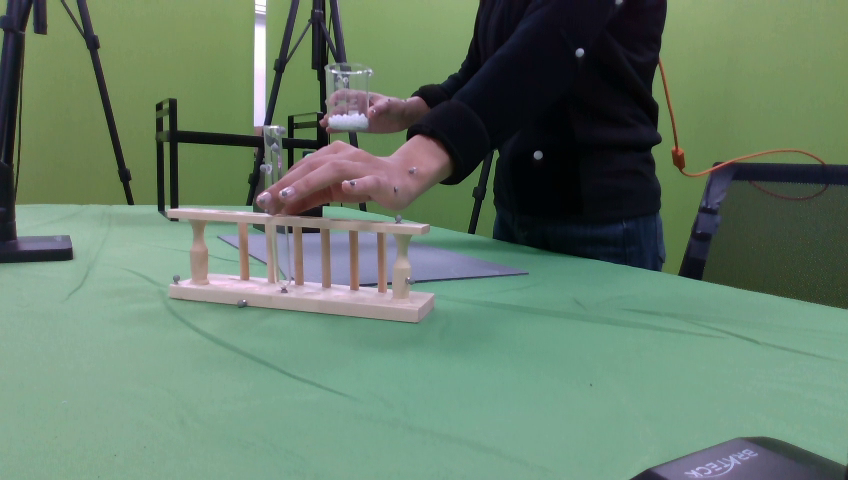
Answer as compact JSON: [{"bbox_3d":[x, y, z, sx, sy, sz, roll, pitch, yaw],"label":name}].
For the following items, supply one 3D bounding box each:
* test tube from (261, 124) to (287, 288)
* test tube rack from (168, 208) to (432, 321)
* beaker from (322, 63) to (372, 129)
[{"bbox_3d":[-0.137,-0.029,0.553,0.017,0.150,0.017,-1,9,1],"label":"test tube"},{"bbox_3d":[-0.116,0.018,0.574,0.242,0.085,0.067,4,8,13],"label":"test tube rack"},{"bbox_3d":[-0.129,-0.239,1.016,0.084,0.100,0.074,-1,6,-4],"label":"beaker"}]
